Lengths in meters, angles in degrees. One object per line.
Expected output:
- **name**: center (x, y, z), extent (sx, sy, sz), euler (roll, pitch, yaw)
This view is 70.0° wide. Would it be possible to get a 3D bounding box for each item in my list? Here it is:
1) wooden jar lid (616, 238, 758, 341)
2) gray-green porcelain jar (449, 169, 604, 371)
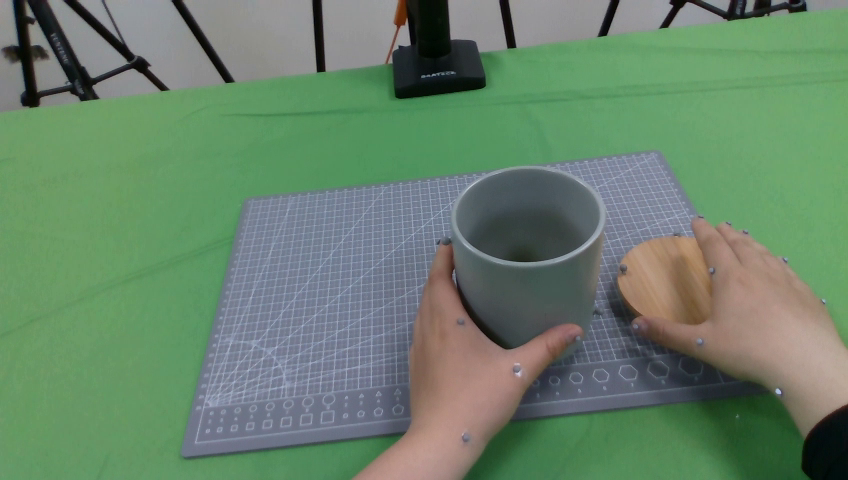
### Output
- **wooden jar lid**: center (0.213, 0.042, 0.498), extent (0.108, 0.021, 0.107), euler (-5, 42, 5)
- **gray-green porcelain jar**: center (0.075, 0.028, 0.454), extent (0.106, 0.128, 0.105), euler (-4, 43, 4)
